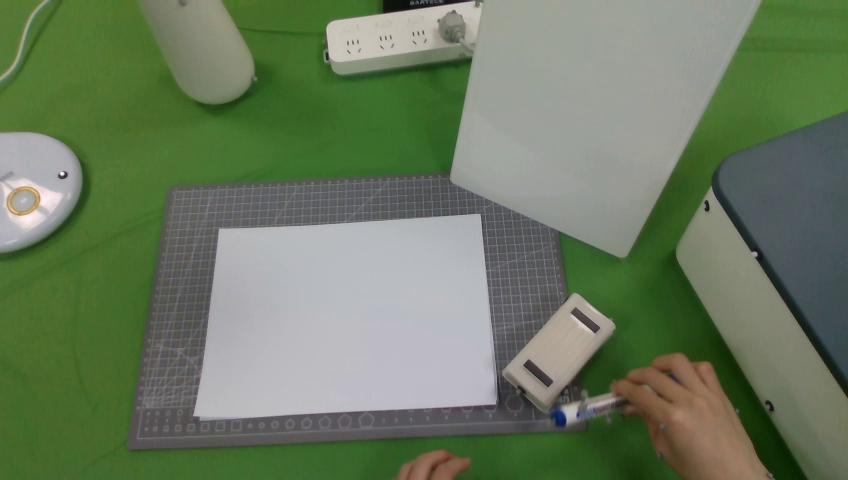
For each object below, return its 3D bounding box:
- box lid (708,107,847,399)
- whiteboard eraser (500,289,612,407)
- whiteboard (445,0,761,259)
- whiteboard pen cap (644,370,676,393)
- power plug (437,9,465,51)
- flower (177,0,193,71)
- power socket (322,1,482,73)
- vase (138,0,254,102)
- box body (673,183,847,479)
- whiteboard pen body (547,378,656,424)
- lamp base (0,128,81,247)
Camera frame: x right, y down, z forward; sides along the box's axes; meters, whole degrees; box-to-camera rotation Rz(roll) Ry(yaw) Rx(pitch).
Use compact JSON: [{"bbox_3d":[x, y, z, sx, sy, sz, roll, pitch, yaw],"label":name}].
[{"bbox_3d":[0.422,0.041,0.470,0.263,0.015,0.368,-20,66,-6],"label":"box lid"},{"bbox_3d":[0.130,0.106,0.599,0.055,0.042,0.112,40,73,19],"label":"whiteboard eraser"},{"bbox_3d":[0.171,-0.168,0.616,0.216,0.308,0.143,26,48,15],"label":"whiteboard"},{"bbox_3d":[0.219,0.133,0.569,0.033,0.018,0.018,-7,62,-27],"label":"whiteboard pen cap"},{"bbox_3d":[0.033,-0.253,0.752,0.035,0.053,0.072,2,71,3],"label":"power plug"},{"bbox_3d":[-0.252,-0.280,0.619,0.038,0.362,0.044,45,64,2],"label":"flower"},{"bbox_3d":[-0.021,-0.263,0.784,0.227,0.033,0.071,-8,66,-2],"label":"power socket"},{"bbox_3d":[-0.269,-0.251,0.697,0.098,0.201,0.097,-1,64,3],"label":"vase"},{"bbox_3d":[0.426,0.076,0.537,0.254,0.161,0.360,-20,66,-7],"label":"box body"},{"bbox_3d":[0.168,0.140,0.540,0.141,0.017,0.017,-7,62,-27],"label":"whiteboard pen body"},{"bbox_3d":[-0.501,-0.103,0.648,0.178,0.182,0.160,28,69,18],"label":"lamp base"}]
